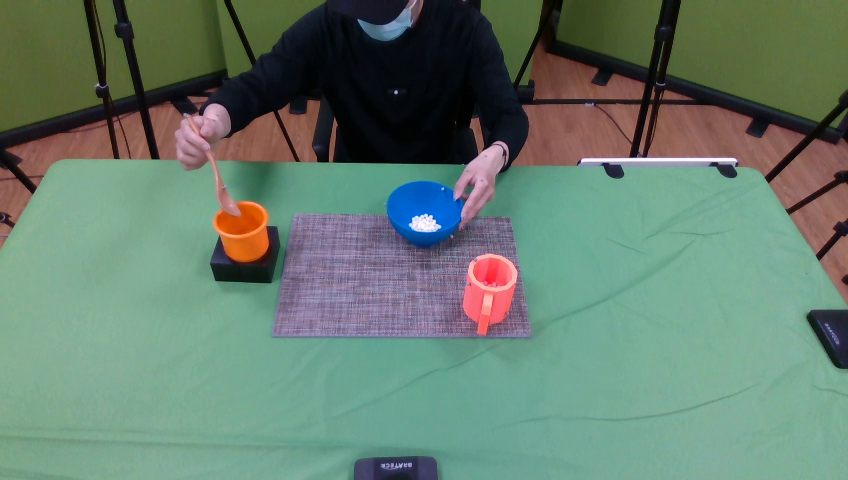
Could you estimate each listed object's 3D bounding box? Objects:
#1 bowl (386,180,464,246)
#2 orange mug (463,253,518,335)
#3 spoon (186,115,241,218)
[{"bbox_3d":[0.000,-0.041,1.191,0.151,0.077,0.150,2,46,-2],"label":"bowl"},{"bbox_3d":[0.113,0.098,1.050,0.083,0.101,0.125,10,42,6],"label":"orange mug"},{"bbox_3d":[-0.360,-0.125,1.033,0.021,0.193,0.041,-21,1,24],"label":"spoon"}]
